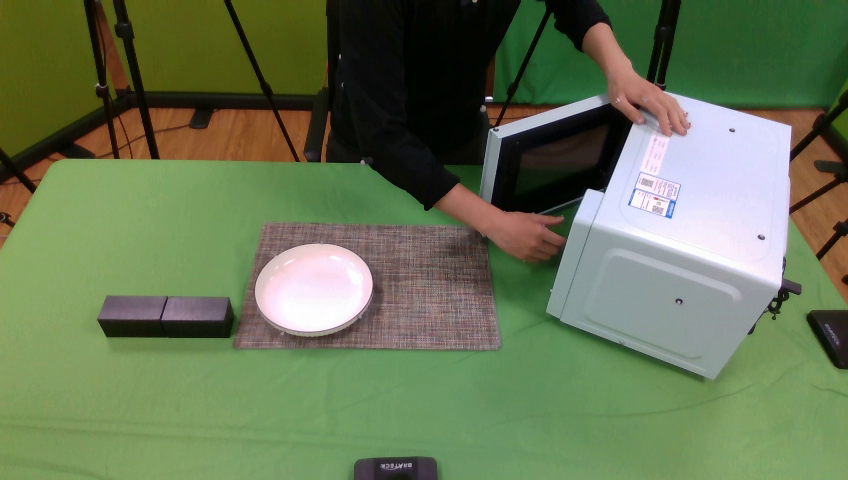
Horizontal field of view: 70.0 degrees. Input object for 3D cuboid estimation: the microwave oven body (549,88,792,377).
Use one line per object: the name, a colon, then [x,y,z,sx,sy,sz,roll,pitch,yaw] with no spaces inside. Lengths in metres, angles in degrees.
microwave oven body: [0.456,-0.028,1.088,0.325,0.261,0.440,20,47,16]

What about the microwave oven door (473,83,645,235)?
microwave oven door: [0.267,-0.160,1.194,0.356,0.245,0.039,-21,51,-22]

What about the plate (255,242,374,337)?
plate: [-0.192,0.090,1.079,0.208,0.039,0.206,2,46,-2]

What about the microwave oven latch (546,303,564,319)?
microwave oven latch: [0.242,0.102,1.081,0.030,0.029,0.079,21,48,17]
